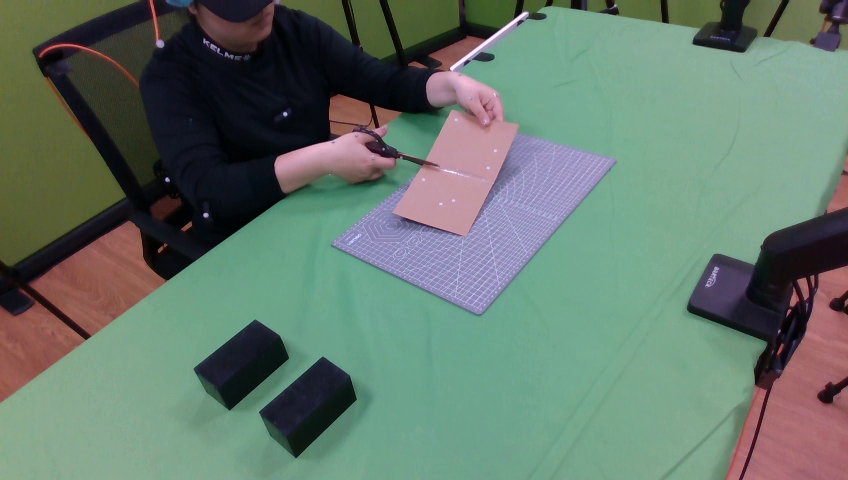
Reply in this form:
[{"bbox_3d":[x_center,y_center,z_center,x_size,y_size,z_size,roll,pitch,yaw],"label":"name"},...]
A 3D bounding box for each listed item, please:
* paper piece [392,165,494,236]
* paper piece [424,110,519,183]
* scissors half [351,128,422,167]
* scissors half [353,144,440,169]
[{"bbox_3d":[0.034,-0.071,1.031,0.135,0.004,0.135,19,51,15],"label":"paper piece"},{"bbox_3d":[0.087,-0.173,1.099,0.135,0.009,0.138,20,62,12],"label":"paper piece"},{"bbox_3d":[-0.051,-0.160,1.090,0.175,0.040,0.013,26,63,-1],"label":"scissors half"},{"bbox_3d":[-0.051,-0.148,1.108,0.174,0.040,0.013,13,55,21],"label":"scissors half"}]
